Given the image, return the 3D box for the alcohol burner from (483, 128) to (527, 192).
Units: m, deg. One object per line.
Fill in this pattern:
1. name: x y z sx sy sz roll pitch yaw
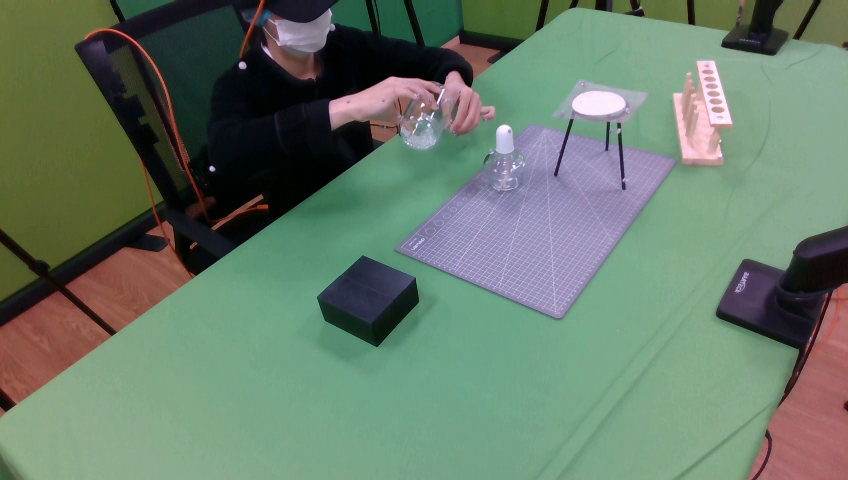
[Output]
1. alcohol burner: 0.141 -0.144 1.050 0.078 0.119 0.077 -4 42 4

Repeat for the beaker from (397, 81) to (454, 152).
1. beaker: 0.002 -0.199 0.998 0.073 0.084 0.100 1 48 23

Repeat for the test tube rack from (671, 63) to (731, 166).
1. test tube rack: 0.513 -0.241 1.132 0.066 0.085 0.242 4 41 14

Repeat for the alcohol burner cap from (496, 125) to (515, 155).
1. alcohol burner cap: 0.138 -0.172 1.028 0.034 0.048 0.033 -5 38 4

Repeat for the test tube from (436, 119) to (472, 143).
1. test tube: 0.058 -0.201 1.119 0.017 0.017 0.151 14 3 25

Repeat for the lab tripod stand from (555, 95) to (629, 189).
1. lab tripod stand: 0.300 -0.174 1.045 0.148 0.132 0.147 -5 38 5

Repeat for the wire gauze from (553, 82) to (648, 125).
1. wire gauze: 0.293 -0.226 1.002 0.120 0.011 0.125 17 45 27
